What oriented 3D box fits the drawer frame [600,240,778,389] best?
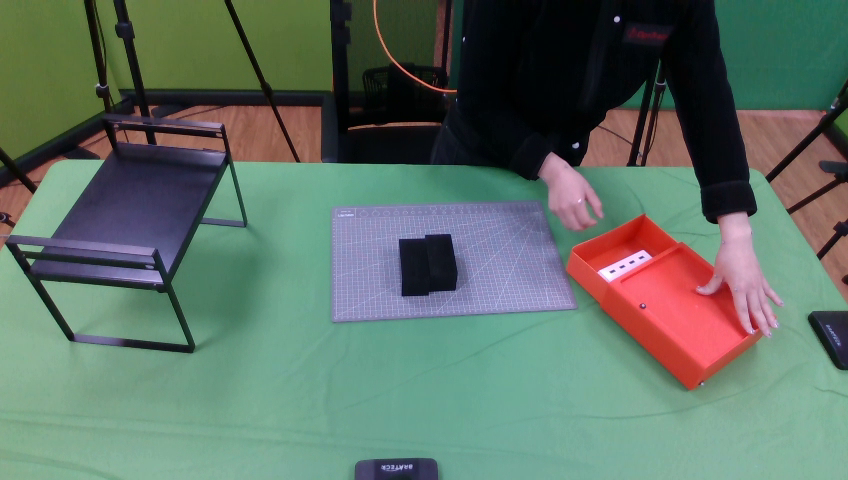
[{"bbox_3d":[0.460,0.122,1.068,0.202,0.083,0.212,-25,53,-25],"label":"drawer frame"}]

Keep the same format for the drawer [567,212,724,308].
[{"bbox_3d":[0.408,0.064,1.122,0.194,0.073,0.210,-22,51,-24],"label":"drawer"}]

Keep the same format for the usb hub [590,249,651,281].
[{"bbox_3d":[0.383,0.049,1.152,0.125,0.025,0.049,-9,46,-20],"label":"usb hub"}]
